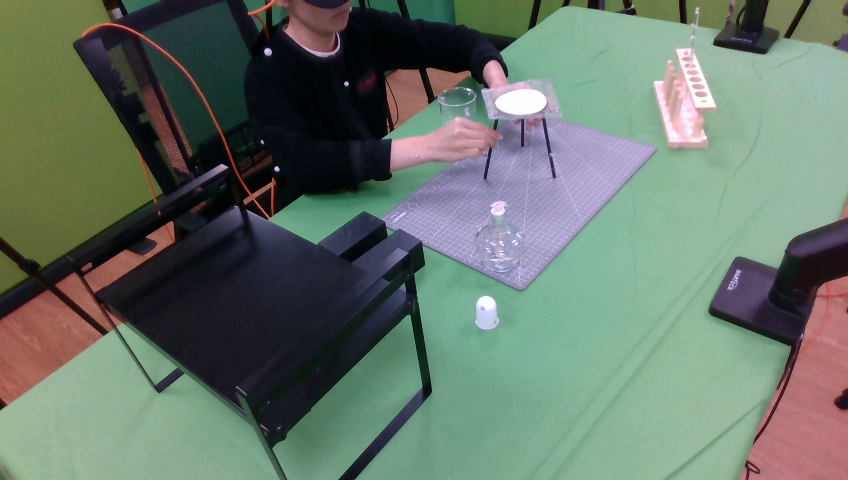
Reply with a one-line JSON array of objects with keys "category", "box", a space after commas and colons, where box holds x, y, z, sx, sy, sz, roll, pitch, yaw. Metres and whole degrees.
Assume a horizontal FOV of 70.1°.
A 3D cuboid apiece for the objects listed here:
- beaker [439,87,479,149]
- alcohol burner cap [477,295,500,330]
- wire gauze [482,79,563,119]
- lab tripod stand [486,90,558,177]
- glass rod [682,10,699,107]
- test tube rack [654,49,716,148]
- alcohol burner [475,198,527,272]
[{"category": "beaker", "box": [0.072, -0.238, 1.184, 0.073, 0.101, 0.084, 29, 52, 35]}, {"category": "alcohol burner cap", "box": [0.089, 0.097, 0.833, 0.034, 0.048, 0.033, -4, 42, 4]}, {"category": "wire gauze", "box": [0.166, -0.239, 1.035, 0.125, 0.011, 0.121, -5, 41, 3]}, {"category": "lab tripod stand", "box": [0.173, -0.186, 1.075, 0.148, 0.132, 0.147, -4, 43, 5]}, {"category": "glass rod", "box": [0.501, -0.335, 1.138, 0.008, 0.201, 0.008, -7, 45, 7]}, {"category": "test tube rack", "box": [0.502, -0.281, 1.176, 0.066, 0.085, 0.241, 2, 41, 11]}, {"category": "alcohol burner", "box": [0.113, -0.012, 0.897, 0.078, 0.119, 0.077, -6, 40, 6]}]
